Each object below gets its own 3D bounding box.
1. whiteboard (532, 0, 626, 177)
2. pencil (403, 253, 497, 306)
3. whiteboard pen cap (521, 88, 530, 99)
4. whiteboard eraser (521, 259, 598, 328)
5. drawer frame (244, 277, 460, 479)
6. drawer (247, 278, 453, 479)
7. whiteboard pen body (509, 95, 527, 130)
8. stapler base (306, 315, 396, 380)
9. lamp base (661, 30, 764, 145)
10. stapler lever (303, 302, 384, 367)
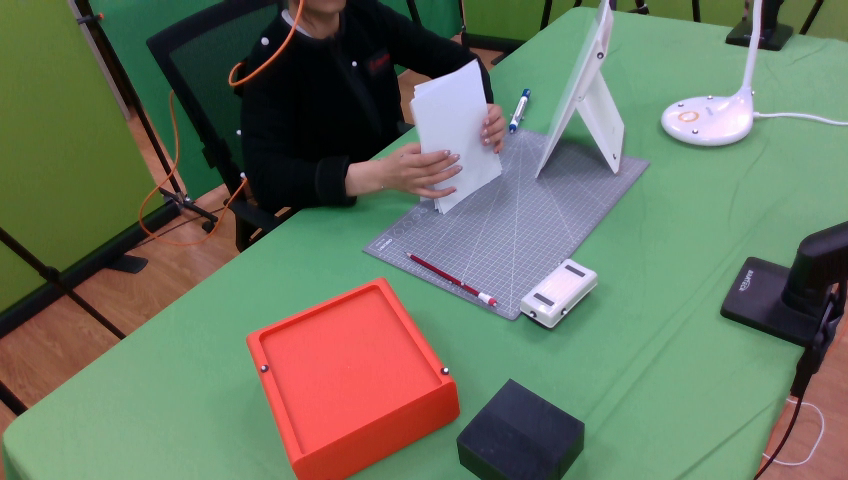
[{"bbox_3d":[0.321,-0.258,1.050,0.144,0.306,0.217,21,45,5],"label":"whiteboard"},{"bbox_3d":[0.034,0.056,0.914,0.192,0.012,0.012,27,52,38],"label":"pencil"},{"bbox_3d":[0.219,-0.312,1.301,0.018,0.018,0.033,6,46,17],"label":"whiteboard pen cap"},{"bbox_3d":[0.189,0.076,0.843,0.055,0.042,0.113,29,53,37],"label":"whiteboard eraser"},{"bbox_3d":[-0.093,0.167,0.755,0.202,0.083,0.211,-23,43,-17],"label":"drawer frame"},{"bbox_3d":[-0.096,0.167,0.758,0.195,0.073,0.210,-22,43,-16],"label":"drawer"},{"bbox_3d":[0.199,-0.273,1.261,0.017,0.017,0.140,8,45,19],"label":"whiteboard pen body"},{"bbox_3d":[-0.101,0.139,0.819,0.131,0.024,0.041,-31,37,-13],"label":"stapler base"},{"bbox_3d":[0.535,-0.287,1.096,0.179,0.181,0.159,-10,40,-4],"label":"lamp base"},{"bbox_3d":[-0.108,0.123,0.805,0.118,0.040,0.026,-27,36,-15],"label":"stapler lever"}]
